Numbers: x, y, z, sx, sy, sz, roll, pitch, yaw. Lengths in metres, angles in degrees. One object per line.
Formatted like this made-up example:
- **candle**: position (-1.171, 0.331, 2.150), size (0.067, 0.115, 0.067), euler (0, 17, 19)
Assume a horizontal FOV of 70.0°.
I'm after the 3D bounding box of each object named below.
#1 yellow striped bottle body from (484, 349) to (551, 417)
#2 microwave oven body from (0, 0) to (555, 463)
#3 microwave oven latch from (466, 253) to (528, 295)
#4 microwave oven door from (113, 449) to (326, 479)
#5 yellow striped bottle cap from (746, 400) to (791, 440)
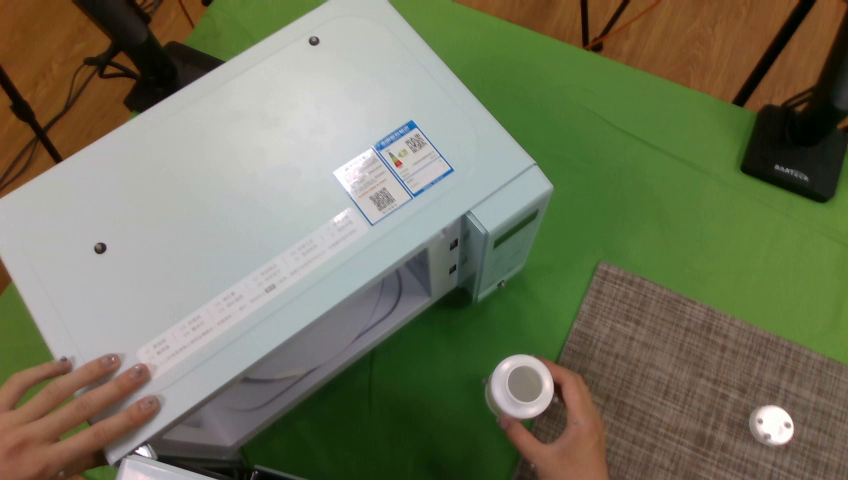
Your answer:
- **yellow striped bottle body**: position (0.097, 0.151, 0.636), size (0.063, 0.121, 0.062), euler (-1, 71, 2)
- **microwave oven body**: position (-0.144, -0.010, 0.663), size (0.441, 0.262, 0.324), euler (-36, 74, -10)
- **microwave oven latch**: position (0.090, 0.034, 0.745), size (0.079, 0.030, 0.030), euler (-34, 73, -10)
- **microwave oven door**: position (-0.065, 0.257, 0.559), size (0.355, 0.245, 0.039), euler (13, 70, 6)
- **yellow striped bottle cap**: position (0.399, 0.208, 0.702), size (0.044, 0.019, 0.044), euler (-1, 70, 3)
